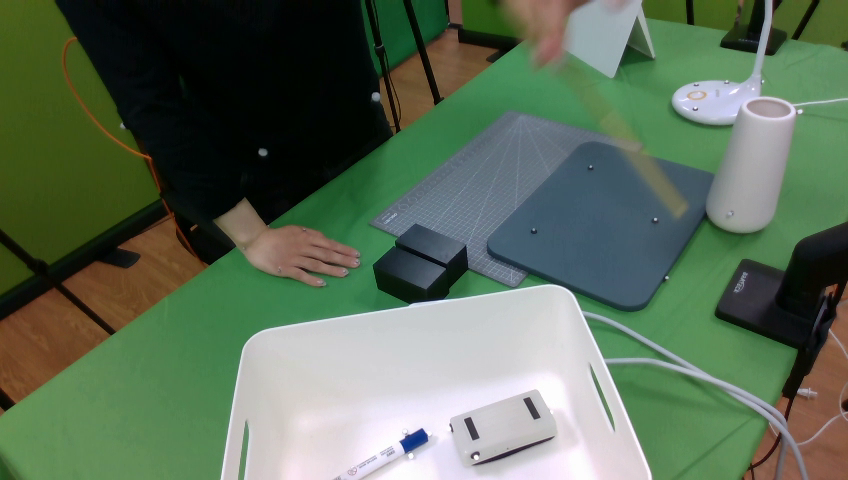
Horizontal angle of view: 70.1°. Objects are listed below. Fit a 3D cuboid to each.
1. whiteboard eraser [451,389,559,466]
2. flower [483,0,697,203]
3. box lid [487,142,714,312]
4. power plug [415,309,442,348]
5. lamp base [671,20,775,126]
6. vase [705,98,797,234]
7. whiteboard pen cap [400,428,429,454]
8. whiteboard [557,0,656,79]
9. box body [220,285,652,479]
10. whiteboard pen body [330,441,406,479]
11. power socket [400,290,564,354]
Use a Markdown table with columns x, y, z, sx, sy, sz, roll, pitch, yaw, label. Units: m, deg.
| x | y | z | sx | sy | sz | roll | pitch | yaw | label |
| --- | --- | --- | --- | --- | --- | --- | --- | --- | --- |
| 0.091 | 0.213 | 0.682 | 0.113 | 0.042 | 0.055 | -17 | 39 | -7 | whiteboard eraser |
| 0.111 | -0.112 | 0.442 | 0.043 | 0.365 | 0.038 | -11 | 56 | 49 | flower |
| 0.298 | -0.041 | 0.986 | 0.261 | 0.015 | 0.372 | 23 | 49 | 30 | box lid |
| 0.004 | 0.121 | 0.786 | 0.035 | 0.053 | 0.072 | 1 | 45 | 8 | power plug |
| 0.581 | -0.332 | 1.154 | 0.179 | 0.181 | 0.160 | 2 | 41 | 7 | lamp base |
| 0.480 | -0.103 | 0.888 | 0.098 | 0.201 | 0.097 | -4 | 42 | 4 | vase |
| -0.012 | 0.232 | 0.695 | 0.033 | 0.018 | 0.018 | -24 | 43 | -20 | whiteboard pen cap |
| 0.462 | -0.542 | 1.366 | 0.145 | 0.306 | 0.215 | -3 | 36 | -25 | whiteboard |
| 0.005 | 0.211 | 0.616 | 0.364 | 0.161 | 0.252 | -9 | 40 | -2 | box body |
| -0.063 | 0.254 | 0.677 | 0.141 | 0.017 | 0.017 | -24 | 43 | -21 | whiteboard pen body |
| 0.079 | 0.111 | 0.823 | 0.227 | 0.033 | 0.072 | -6 | 41 | 1 | power socket |
